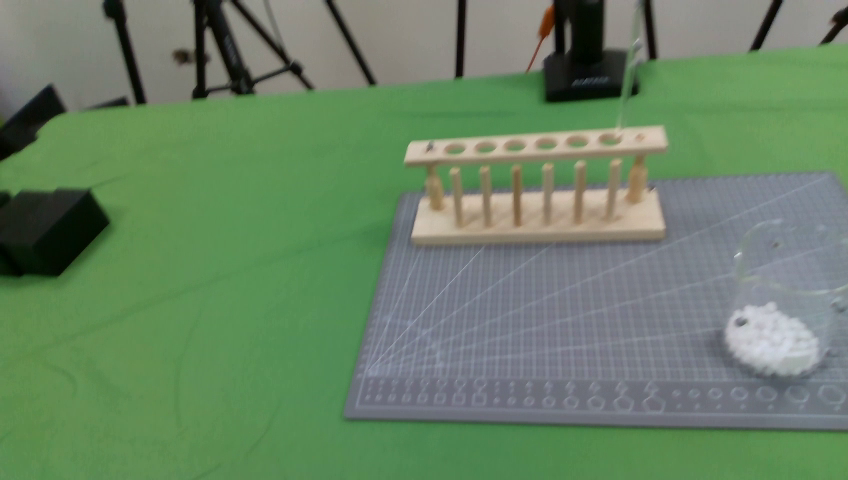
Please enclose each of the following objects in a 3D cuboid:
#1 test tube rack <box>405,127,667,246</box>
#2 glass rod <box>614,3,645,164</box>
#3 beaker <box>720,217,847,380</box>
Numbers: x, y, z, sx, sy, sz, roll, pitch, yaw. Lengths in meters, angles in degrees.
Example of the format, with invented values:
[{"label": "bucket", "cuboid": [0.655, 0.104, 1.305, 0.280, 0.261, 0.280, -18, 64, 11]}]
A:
[{"label": "test tube rack", "cuboid": [0.105, -0.050, 0.592, 0.242, 0.086, 0.066, -1, 42, 12]}, {"label": "glass rod", "cuboid": [0.180, -0.111, 0.541, 0.008, 0.201, 0.008, -4, 42, 4]}, {"label": "beaker", "cuboid": [0.254, 0.046, 0.434, 0.084, 0.101, 0.073, -14, 40, -2]}]
